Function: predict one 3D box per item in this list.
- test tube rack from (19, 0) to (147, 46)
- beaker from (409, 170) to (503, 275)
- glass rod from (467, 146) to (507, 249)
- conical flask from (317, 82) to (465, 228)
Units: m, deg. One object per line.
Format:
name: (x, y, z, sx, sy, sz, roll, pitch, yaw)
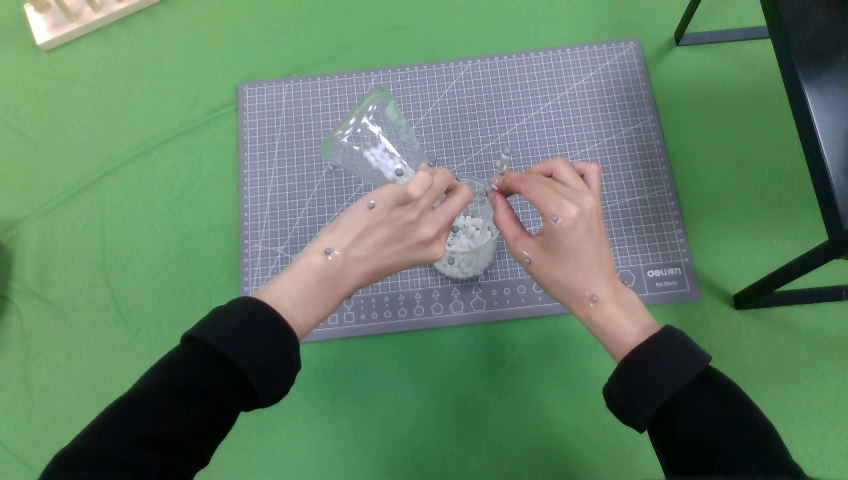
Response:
test tube rack: (-0.358, -0.320, 0.689, 0.242, 0.086, 0.066, -26, 73, -6)
beaker: (0.030, -0.012, 0.567, 0.084, 0.101, 0.073, 17, 74, 9)
glass rod: (0.050, -0.029, 0.511, 0.008, 0.201, 0.008, 1, 70, -2)
conical flask: (-0.021, -0.063, 0.496, 0.122, 0.075, 0.075, 43, 78, -16)
